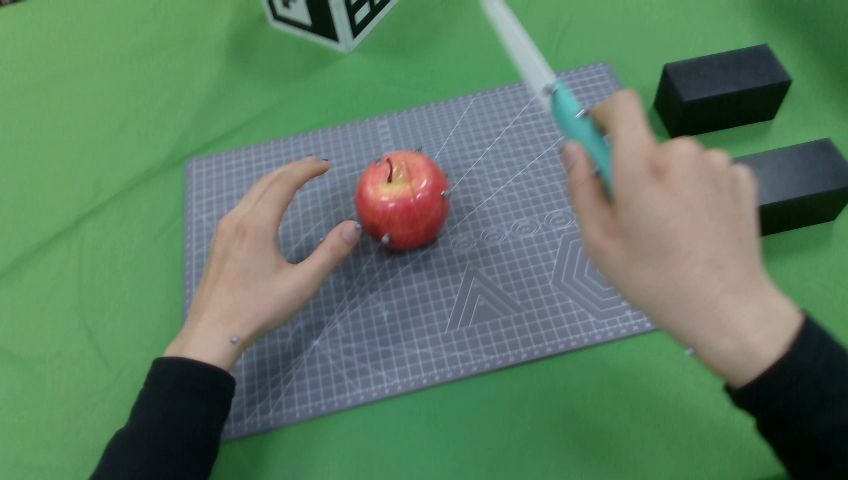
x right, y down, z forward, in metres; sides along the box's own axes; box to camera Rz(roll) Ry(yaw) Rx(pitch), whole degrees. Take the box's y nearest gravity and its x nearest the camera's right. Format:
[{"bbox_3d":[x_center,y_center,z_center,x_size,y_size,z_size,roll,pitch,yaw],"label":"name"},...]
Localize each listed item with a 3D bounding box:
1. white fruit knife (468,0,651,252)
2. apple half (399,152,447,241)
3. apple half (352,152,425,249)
[{"bbox_3d":[0.079,-0.084,0.378,0.016,0.027,0.206,-24,73,-22],"label":"white fruit knife"},{"bbox_3d":[0.004,-0.040,0.521,0.033,0.082,0.080,-17,56,2],"label":"apple half"},{"bbox_3d":[-0.033,-0.029,0.520,0.053,0.075,0.080,-17,60,2],"label":"apple half"}]
